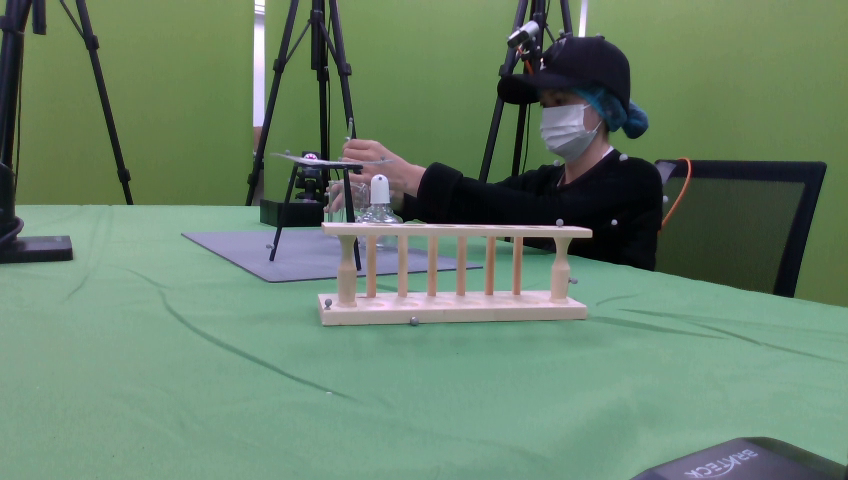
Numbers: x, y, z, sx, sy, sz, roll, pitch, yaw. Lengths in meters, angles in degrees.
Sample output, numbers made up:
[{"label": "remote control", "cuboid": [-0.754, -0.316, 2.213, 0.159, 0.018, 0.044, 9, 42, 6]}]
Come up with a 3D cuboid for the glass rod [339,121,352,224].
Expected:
[{"label": "glass rod", "cuboid": [-0.136, -0.102, 1.030, 0.008, 0.199, 0.008, 6, 5, 0]}]

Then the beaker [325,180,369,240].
[{"label": "beaker", "cuboid": [-0.133, -0.052, 1.058, 0.074, 0.100, 0.083, -3, 10, -36]}]

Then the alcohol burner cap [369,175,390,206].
[{"label": "alcohol burner cap", "cuboid": [-0.069, -0.077, 0.939, 0.034, 0.048, 0.034, 0, 7, 0]}]

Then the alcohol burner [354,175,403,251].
[{"label": "alcohol burner", "cuboid": [-0.072, -0.042, 0.944, 0.078, 0.119, 0.078, 1, 9, 0]}]

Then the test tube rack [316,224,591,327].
[{"label": "test tube rack", "cuboid": [0.026, 0.028, 0.555, 0.243, 0.085, 0.066, 1, 7, -14]}]

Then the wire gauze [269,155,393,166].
[{"label": "wire gauze", "cuboid": [-0.122, -0.102, 0.785, 0.122, 0.011, 0.124, -3, 10, -39]}]

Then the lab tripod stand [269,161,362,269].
[{"label": "lab tripod stand", "cuboid": [-0.125, -0.036, 0.794, 0.148, 0.131, 0.148, 5, 7, 0]}]
